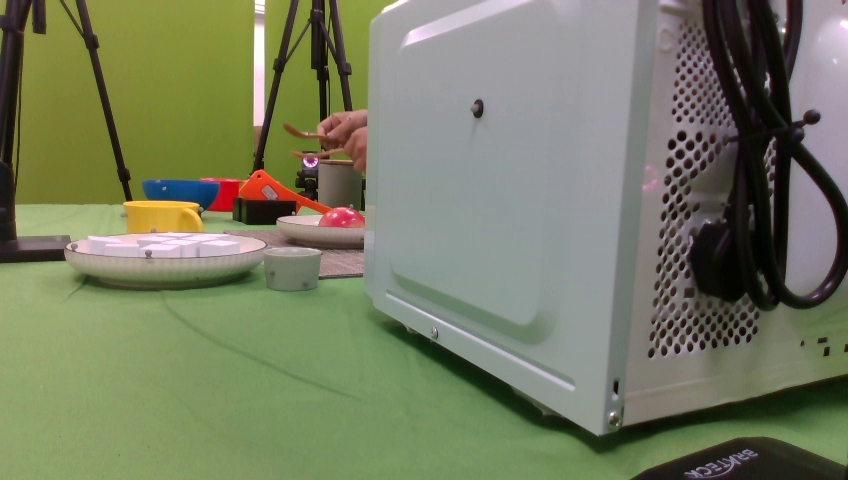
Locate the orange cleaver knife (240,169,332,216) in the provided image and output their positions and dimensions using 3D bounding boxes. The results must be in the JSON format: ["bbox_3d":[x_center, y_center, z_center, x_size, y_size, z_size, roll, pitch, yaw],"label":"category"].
[{"bbox_3d":[-0.286,-0.082,1.298,0.212,0.077,0.012,25,-2,-31],"label":"orange cleaver knife"}]

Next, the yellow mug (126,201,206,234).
[{"bbox_3d":[-0.360,-0.019,0.866,0.130,0.064,0.100,6,9,27],"label":"yellow mug"}]

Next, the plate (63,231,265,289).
[{"bbox_3d":[-0.288,0.021,0.687,0.208,0.039,0.207,2,8,0],"label":"plate"}]

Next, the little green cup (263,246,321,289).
[{"bbox_3d":[-0.142,0.029,0.649,0.061,0.038,0.061,4,7,0],"label":"little green cup"}]

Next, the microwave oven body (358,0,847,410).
[{"bbox_3d":[0.210,-0.051,0.471,0.444,0.260,0.324,-1,7,-28],"label":"microwave oven body"}]

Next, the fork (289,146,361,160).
[{"bbox_3d":[-0.145,-0.164,1.129,0.208,0.018,0.028,-6,-18,-10],"label":"fork"}]

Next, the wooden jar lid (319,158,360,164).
[{"bbox_3d":[-0.203,-0.189,1.482,0.108,0.020,0.108,2,10,0],"label":"wooden jar lid"}]

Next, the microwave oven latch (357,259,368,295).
[{"bbox_3d":[-0.019,0.031,0.529,0.079,0.029,0.030,-1,7,-26],"label":"microwave oven latch"}]

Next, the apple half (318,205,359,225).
[{"bbox_3d":[-0.126,-0.028,0.954,0.081,0.053,0.074,-2,10,-33],"label":"apple half"}]

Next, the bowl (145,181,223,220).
[{"bbox_3d":[-0.499,-0.081,1.261,0.151,0.077,0.151,2,7,0],"label":"bowl"}]

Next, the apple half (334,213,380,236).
[{"bbox_3d":[-0.112,-0.029,1.034,0.081,0.033,0.081,0,10,0],"label":"apple half"}]

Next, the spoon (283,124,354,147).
[{"bbox_3d":[-0.203,-0.205,1.223,0.041,0.021,0.195,19,9,40],"label":"spoon"}]

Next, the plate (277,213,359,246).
[{"bbox_3d":[-0.135,-0.018,0.993,0.209,0.038,0.209,2,7,0],"label":"plate"}]

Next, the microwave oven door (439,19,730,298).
[{"bbox_3d":[0.181,-0.076,0.618,0.358,0.243,0.039,-2,8,-28],"label":"microwave oven door"}]

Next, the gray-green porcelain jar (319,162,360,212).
[{"bbox_3d":[-0.204,-0.126,1.489,0.106,0.126,0.106,2,7,0],"label":"gray-green porcelain jar"}]
